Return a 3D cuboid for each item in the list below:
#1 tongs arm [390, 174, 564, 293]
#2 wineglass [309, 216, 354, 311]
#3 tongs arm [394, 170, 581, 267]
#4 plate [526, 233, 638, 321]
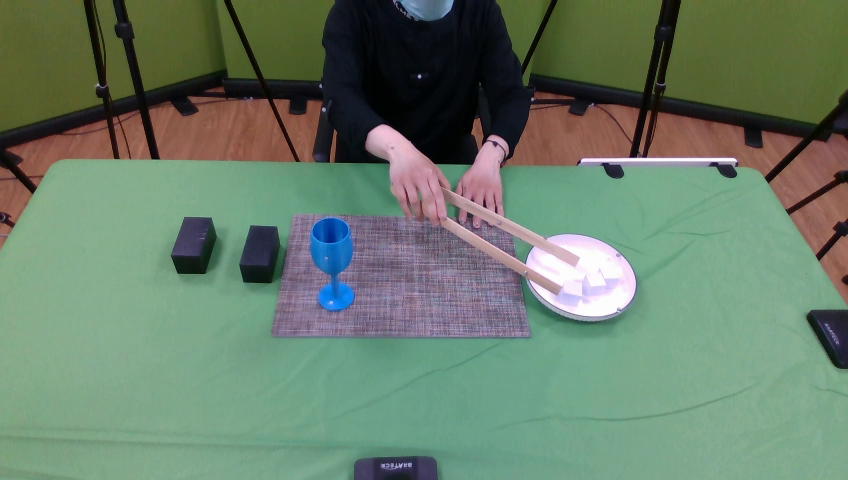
[{"bbox_3d":[0.085,-0.015,1.102,0.386,0.028,0.028,33,46,19],"label":"tongs arm"},{"bbox_3d":[-0.155,0.043,1.032,0.074,0.173,0.073,2,46,-2],"label":"wineglass"},{"bbox_3d":[0.112,-0.040,1.143,0.384,0.026,0.050,29,41,15],"label":"tongs arm"},{"bbox_3d":[0.292,0.071,1.135,0.209,0.038,0.208,2,46,-2],"label":"plate"}]
